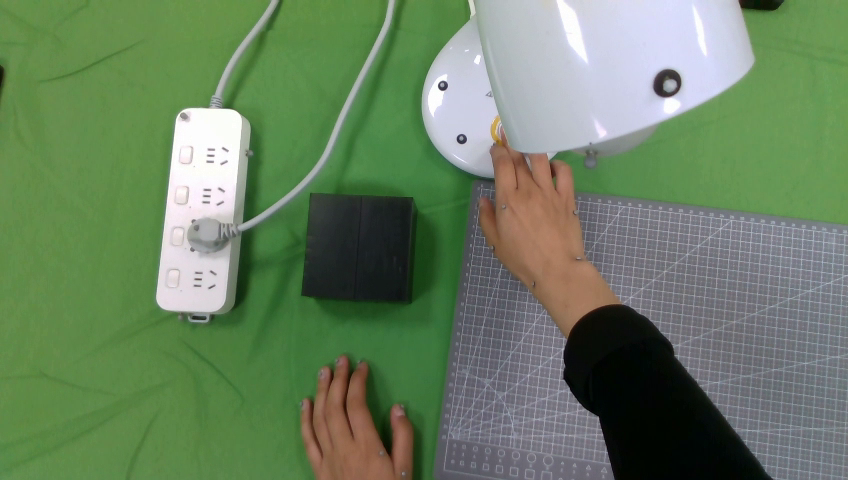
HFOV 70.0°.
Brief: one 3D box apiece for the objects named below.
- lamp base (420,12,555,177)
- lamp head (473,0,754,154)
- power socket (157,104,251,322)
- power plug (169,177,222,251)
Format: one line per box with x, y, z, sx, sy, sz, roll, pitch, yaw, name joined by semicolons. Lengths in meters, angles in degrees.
0.066;-0.166;0.552;0.160;0.181;0.178;-21;78;0;lamp base
0.069;-0.114;0.263;0.112;0.112;0.123;-24;104;0;lamp head
-0.224;-0.030;0.622;0.072;0.033;0.226;3;81;2;power socket
-0.223;-0.024;0.598;0.035;0.053;0.072;-12;75;-15;power plug
